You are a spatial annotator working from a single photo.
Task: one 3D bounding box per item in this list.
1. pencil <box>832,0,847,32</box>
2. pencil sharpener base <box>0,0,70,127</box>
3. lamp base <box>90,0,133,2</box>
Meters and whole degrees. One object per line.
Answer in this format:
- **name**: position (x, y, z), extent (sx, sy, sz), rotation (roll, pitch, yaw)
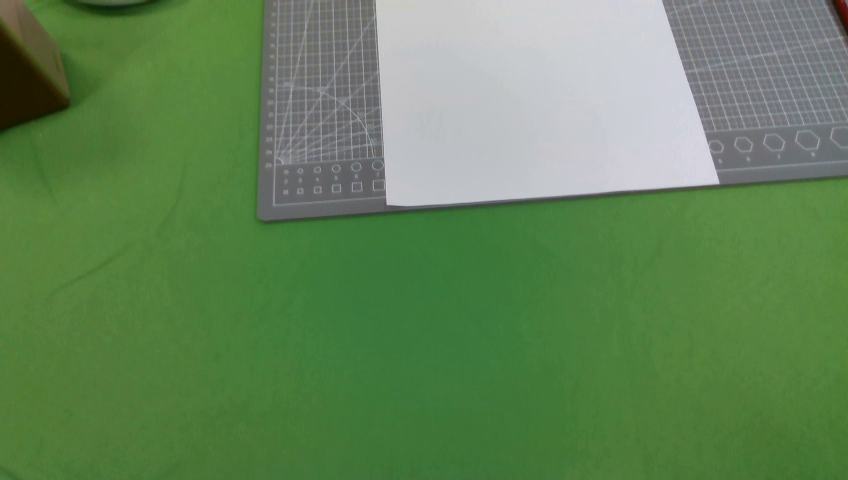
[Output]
- **pencil**: position (0.300, -0.212, 0.459), extent (0.012, 0.012, 0.192), rotation (-5, 67, -1)
- **pencil sharpener base**: position (-0.288, -0.125, 0.376), extent (0.077, 0.108, 0.061), rotation (-24, 67, -9)
- **lamp base**: position (-0.241, -0.290, 0.411), extent (0.160, 0.181, 0.177), rotation (-33, 67, -14)
